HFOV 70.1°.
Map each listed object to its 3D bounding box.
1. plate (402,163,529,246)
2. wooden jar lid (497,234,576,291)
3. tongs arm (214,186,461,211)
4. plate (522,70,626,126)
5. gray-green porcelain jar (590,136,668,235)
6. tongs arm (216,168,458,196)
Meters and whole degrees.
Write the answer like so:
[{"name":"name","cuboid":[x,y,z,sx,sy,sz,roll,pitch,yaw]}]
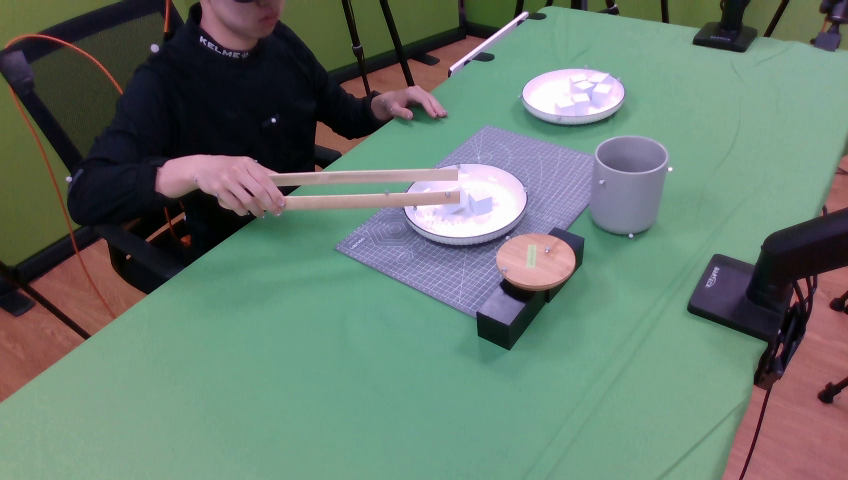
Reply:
[{"name":"plate","cuboid":[0.070,-0.056,1.008,0.209,0.038,0.208,-4,40,4]},{"name":"wooden jar lid","cuboid":[0.155,0.032,0.834,0.108,0.021,0.108,-5,40,5]},{"name":"tongs arm","cuboid":[-0.136,-0.071,0.955,0.385,0.026,0.050,-3,43,-3]},{"name":"plate","cuboid":[0.308,-0.290,1.251,0.207,0.039,0.206,-4,40,4]},{"name":"gray-green porcelain jar","cuboid":[0.314,-0.080,0.937,0.106,0.127,0.105,-4,41,4]},{"name":"tongs arm","cuboid":[-0.137,-0.096,0.983,0.388,0.028,0.028,-3,46,-3]}]
